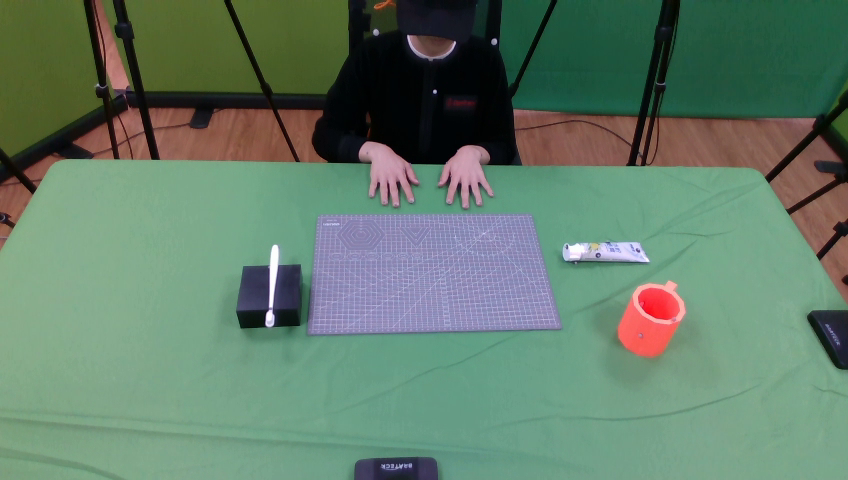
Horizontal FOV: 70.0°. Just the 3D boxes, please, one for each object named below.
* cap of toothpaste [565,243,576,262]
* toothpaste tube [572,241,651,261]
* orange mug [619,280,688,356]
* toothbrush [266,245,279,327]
[{"bbox_3d":[0.285,0.023,1.178,0.011,0.037,0.037,-3,46,-11],"label":"cap of toothpaste"},{"bbox_3d":[0.363,0.024,1.192,0.165,0.035,0.054,-2,50,-11],"label":"toothpaste tube"},{"bbox_3d":[0.401,0.125,1.045,0.083,0.101,0.126,30,56,24],"label":"orange mug"},{"bbox_3d":[-0.261,0.073,1.042,0.014,0.017,0.180,-6,46,-3],"label":"toothbrush"}]
